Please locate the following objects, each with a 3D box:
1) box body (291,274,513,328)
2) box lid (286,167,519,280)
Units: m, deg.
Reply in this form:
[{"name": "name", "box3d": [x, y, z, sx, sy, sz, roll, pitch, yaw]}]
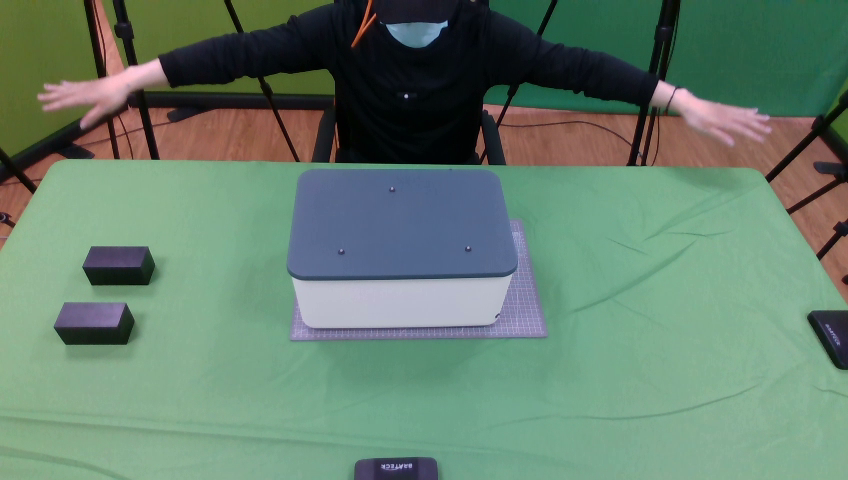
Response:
[{"name": "box body", "box3d": [-0.040, 0.015, 1.075, 0.364, 0.161, 0.252, -1, 47, -4]}, {"name": "box lid", "box3d": [-0.035, -0.036, 1.021, 0.372, 0.015, 0.261, -1, 46, -4]}]
